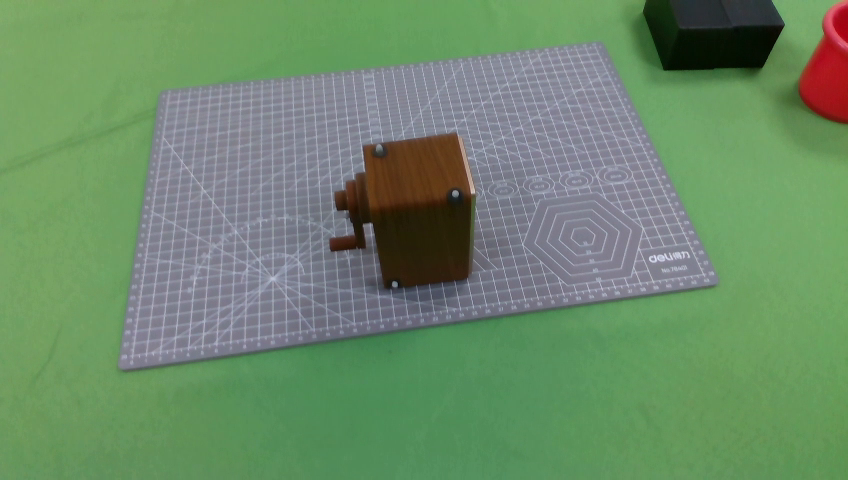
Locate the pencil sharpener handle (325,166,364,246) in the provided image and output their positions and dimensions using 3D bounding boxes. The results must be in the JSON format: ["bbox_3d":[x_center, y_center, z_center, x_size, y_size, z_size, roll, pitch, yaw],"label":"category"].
[{"bbox_3d":[-0.059,-0.020,0.424,0.031,0.068,0.035,-8,50,-3],"label":"pencil sharpener handle"}]

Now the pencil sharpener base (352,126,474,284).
[{"bbox_3d":[-0.008,-0.021,0.439,0.077,0.108,0.060,-8,56,-3],"label":"pencil sharpener base"}]

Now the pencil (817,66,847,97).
[{"bbox_3d":[0.428,-0.198,0.528,0.194,0.012,0.012,-46,57,20],"label":"pencil"}]
